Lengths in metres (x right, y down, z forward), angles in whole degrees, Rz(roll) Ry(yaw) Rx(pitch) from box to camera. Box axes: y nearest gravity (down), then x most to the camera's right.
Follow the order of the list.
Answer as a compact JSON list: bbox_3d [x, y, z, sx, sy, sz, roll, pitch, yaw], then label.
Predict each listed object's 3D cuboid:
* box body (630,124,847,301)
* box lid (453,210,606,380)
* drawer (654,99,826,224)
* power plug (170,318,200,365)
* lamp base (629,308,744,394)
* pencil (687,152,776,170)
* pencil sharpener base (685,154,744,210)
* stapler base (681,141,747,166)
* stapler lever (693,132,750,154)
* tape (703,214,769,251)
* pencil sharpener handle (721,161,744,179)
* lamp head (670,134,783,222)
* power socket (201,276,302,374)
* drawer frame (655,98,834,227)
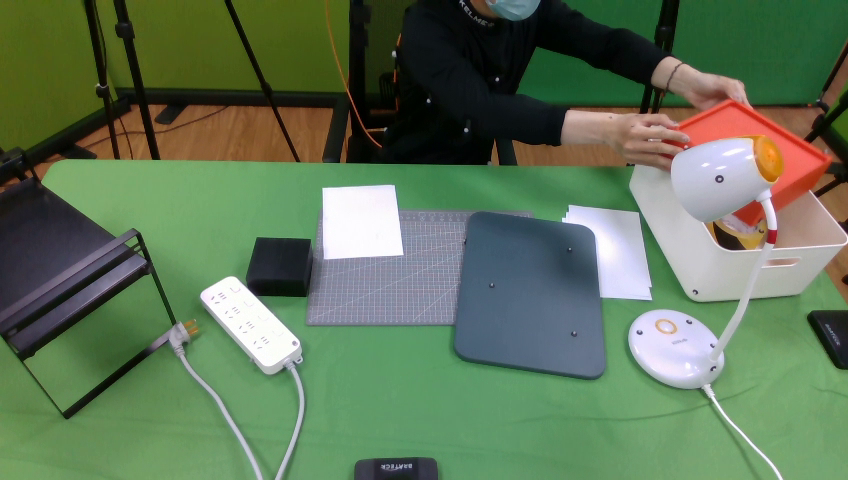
[{"bbox_3d":[0.594,-0.062,1.202,0.254,0.161,0.361,-4,47,-7],"label":"box body"},{"bbox_3d":[0.200,0.085,1.138,0.263,0.015,0.369,8,47,3],"label":"box lid"},{"bbox_3d":[0.562,-0.145,1.087,0.194,0.073,0.210,-25,56,-25],"label":"drawer"},{"bbox_3d":[-0.392,0.167,1.013,0.052,0.035,0.072,-31,89,-23],"label":"power plug"},{"bbox_3d":[0.445,0.139,0.987,0.161,0.181,0.178,-18,53,-20],"label":"lamp base"},{"bbox_3d":[0.566,-0.147,1.114,0.194,0.012,0.012,6,45,-15],"label":"pencil"},{"bbox_3d":[0.619,-0.124,1.294,0.077,0.107,0.061,-8,47,-13],"label":"pencil sharpener base"},{"bbox_3d":[0.543,-0.165,1.128,0.131,0.024,0.041,-10,52,-16],"label":"stapler base"},{"bbox_3d":[0.546,-0.182,1.111,0.118,0.040,0.026,-10,52,-15],"label":"stapler lever"},{"bbox_3d":[0.633,-0.025,1.238,0.117,0.053,0.116,2,46,-2],"label":"tape"},{"bbox_3d":[0.668,-0.147,1.300,0.031,0.068,0.036,-8,78,-13],"label":"pencil sharpener handle"},{"bbox_3d":[0.421,-0.089,0.829,0.113,0.123,0.112,8,75,-32],"label":"lamp head"},{"bbox_3d":[-0.298,0.141,1.034,0.072,0.033,0.225,-34,58,-30],"label":"power socket"},{"bbox_3d":[0.565,-0.145,1.082,0.202,0.083,0.212,-25,55,-26],"label":"drawer frame"}]
